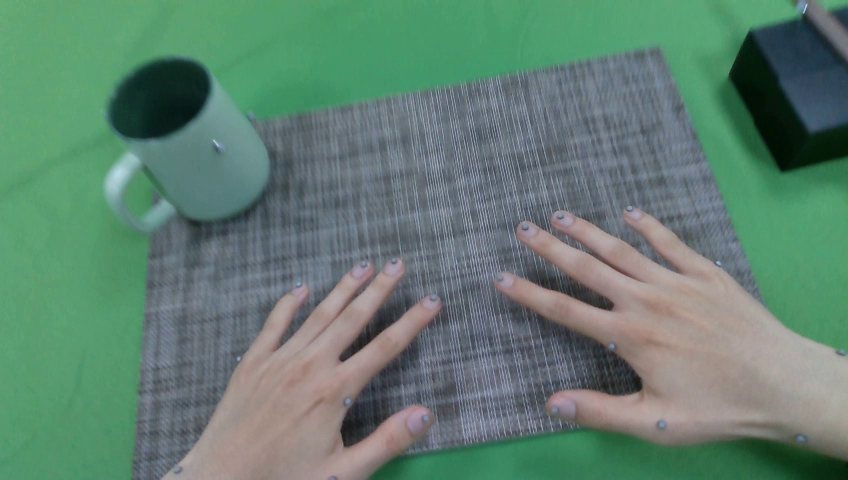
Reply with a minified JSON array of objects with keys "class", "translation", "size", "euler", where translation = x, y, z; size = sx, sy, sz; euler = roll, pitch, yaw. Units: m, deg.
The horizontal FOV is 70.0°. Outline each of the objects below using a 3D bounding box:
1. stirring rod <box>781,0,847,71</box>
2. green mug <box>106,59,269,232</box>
[{"class":"stirring rod","translation":[0.308,-0.145,0.451],"size":[0.014,0.006,0.174],"euler":[-19,63,-6]},{"class":"green mug","translation":[-0.187,-0.061,0.466],"size":[0.092,0.106,0.125],"euler":[26,69,19]}]
